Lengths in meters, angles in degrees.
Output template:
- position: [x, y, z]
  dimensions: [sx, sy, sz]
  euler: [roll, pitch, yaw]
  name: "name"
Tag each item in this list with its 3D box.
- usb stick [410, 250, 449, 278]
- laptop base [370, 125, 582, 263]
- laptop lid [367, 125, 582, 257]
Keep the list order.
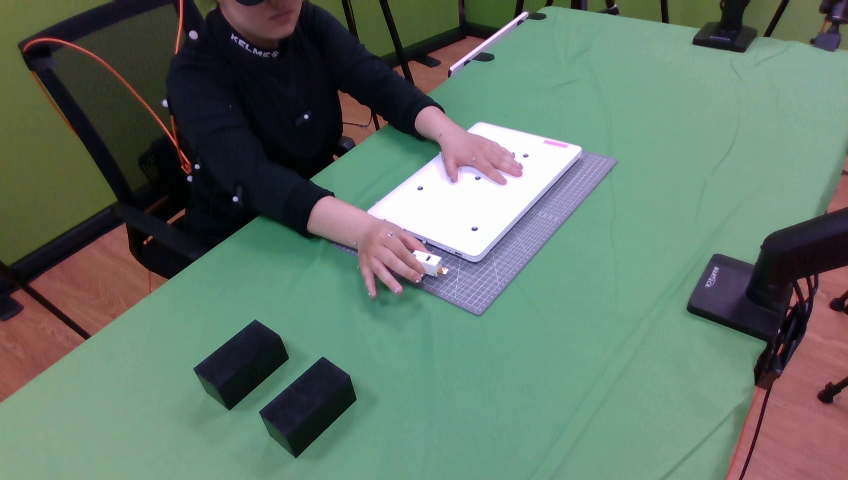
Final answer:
- position: [0.010, 0.038, 0.902]
  dimensions: [0.059, 0.027, 0.021]
  euler: [20, 42, 17]
  name: "usb stick"
- position: [0.098, -0.096, 1.072]
  dimensions: [0.233, 0.023, 0.355]
  euler: [20, 47, 33]
  name: "laptop base"
- position: [0.095, -0.105, 1.067]
  dimensions: [0.239, 0.013, 0.358]
  euler: [22, 48, 34]
  name: "laptop lid"
